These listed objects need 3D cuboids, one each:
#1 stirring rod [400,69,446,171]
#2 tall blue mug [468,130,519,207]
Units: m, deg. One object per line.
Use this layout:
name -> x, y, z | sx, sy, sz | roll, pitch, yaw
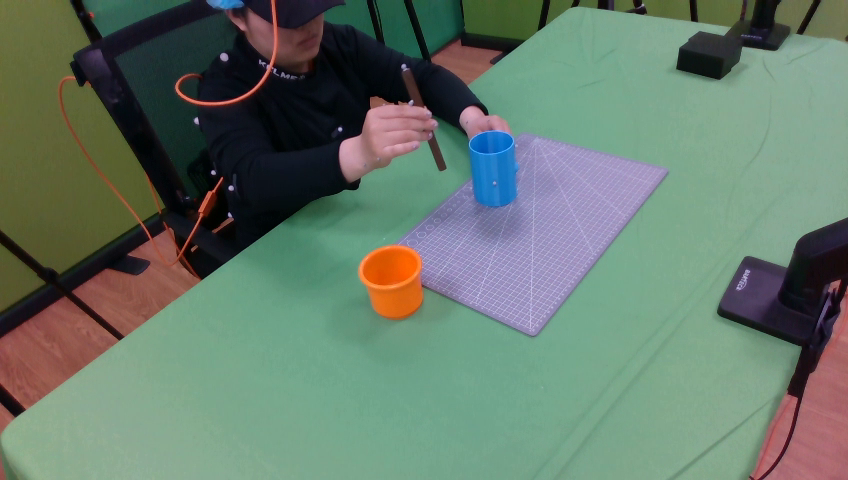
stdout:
stirring rod -> 0.001, -0.168, 0.869 | 0.014, 0.177, 0.006 | -25, 41, 0
tall blue mug -> 0.114, -0.131, 1.045 | 0.078, 0.108, 0.106 | -20, 41, -11
